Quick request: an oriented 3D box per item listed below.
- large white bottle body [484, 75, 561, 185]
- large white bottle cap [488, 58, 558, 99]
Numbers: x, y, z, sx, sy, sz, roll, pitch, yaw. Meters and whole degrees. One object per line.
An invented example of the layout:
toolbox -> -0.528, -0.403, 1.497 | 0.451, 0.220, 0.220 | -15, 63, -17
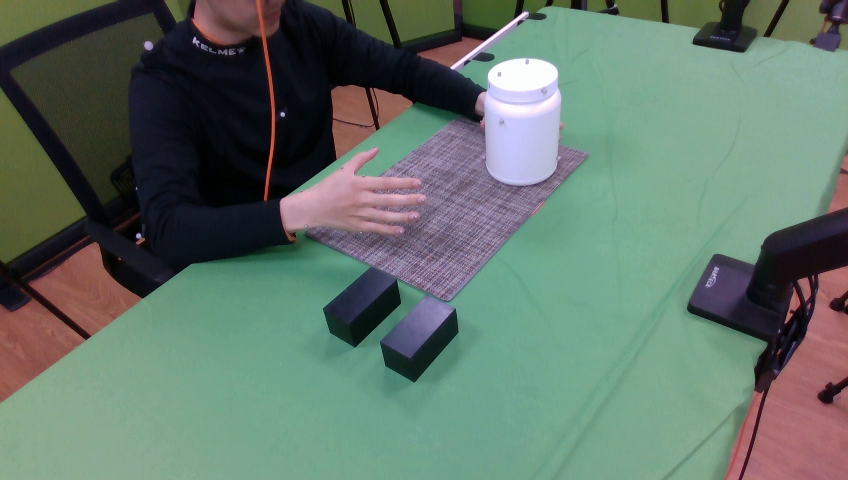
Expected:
large white bottle body -> 0.170, -0.204, 1.050 | 0.130, 0.185, 0.130 | -4, 41, 4
large white bottle cap -> 0.162, -0.268, 0.995 | 0.115, 0.018, 0.114 | -3, 41, 3
